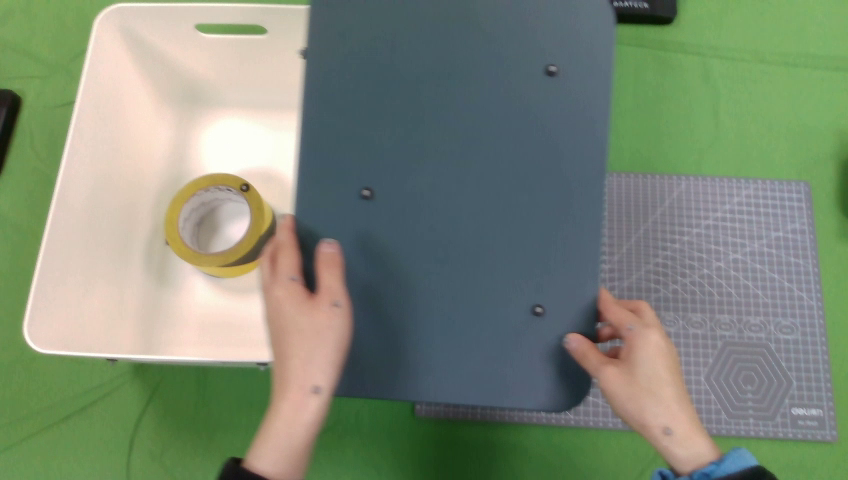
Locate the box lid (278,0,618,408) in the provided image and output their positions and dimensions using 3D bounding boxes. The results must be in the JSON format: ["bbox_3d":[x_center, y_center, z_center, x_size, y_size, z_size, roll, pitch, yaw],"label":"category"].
[{"bbox_3d":[0.025,-0.051,0.510,0.264,0.015,0.371,5,88,-6],"label":"box lid"}]

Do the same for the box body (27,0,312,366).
[{"bbox_3d":[-0.216,-0.049,0.647,0.254,0.161,0.362,2,74,1],"label":"box body"}]

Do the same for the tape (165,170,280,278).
[{"bbox_3d":[-0.226,-0.017,0.687,0.117,0.053,0.116,-1,71,3],"label":"tape"}]
